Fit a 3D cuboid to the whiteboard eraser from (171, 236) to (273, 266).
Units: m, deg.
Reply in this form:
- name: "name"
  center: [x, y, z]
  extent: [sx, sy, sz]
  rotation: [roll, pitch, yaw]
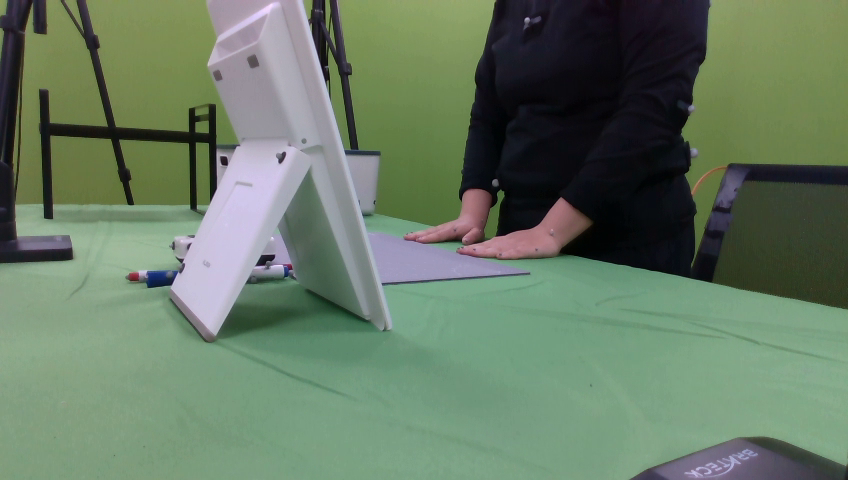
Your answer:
- name: "whiteboard eraser"
  center: [-0.248, 0.014, 0.747]
  extent: [0.113, 0.042, 0.055]
  rotation: [-1, 9, -32]

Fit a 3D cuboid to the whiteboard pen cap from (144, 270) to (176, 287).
- name: "whiteboard pen cap"
  center: [-0.271, 0.039, 0.627]
  extent: [0.033, 0.018, 0.018]
  rotation: [-3, 10, -33]

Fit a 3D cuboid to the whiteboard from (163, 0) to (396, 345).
- name: "whiteboard"
  center: [-0.173, -0.053, 0.511]
  extent: [0.144, 0.305, 0.216]
  rotation: [-23, 19, -26]

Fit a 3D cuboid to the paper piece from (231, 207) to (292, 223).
- name: "paper piece"
  center: [-0.395, -0.062, 1.461]
  extent: [0.139, 0.008, 0.135]
  rotation: [14, -4, -21]

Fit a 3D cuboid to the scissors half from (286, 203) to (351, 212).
- name: "scissors half"
  center: [-0.268, -0.079, 1.535]
  extent: [0.176, 0.013, 0.040]
  rotation: [-7, 12, -23]

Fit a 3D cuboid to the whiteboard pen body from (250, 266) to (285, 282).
- name: "whiteboard pen body"
  center: [-0.220, 0.039, 0.656]
  extent: [0.141, 0.017, 0.017]
  rotation: [-2, 9, -31]

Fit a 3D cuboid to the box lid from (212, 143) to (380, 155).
- name: "box lid"
  center: [-0.326, -0.227, 1.532]
  extent: [0.373, 0.015, 0.262]
  rotation: [-2, 8, -32]

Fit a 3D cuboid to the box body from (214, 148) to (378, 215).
- name: "box body"
  center: [-0.328, -0.154, 1.543]
  extent: [0.366, 0.160, 0.253]
  rotation: [-2, 9, -32]

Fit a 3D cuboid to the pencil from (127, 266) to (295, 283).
- name: "pencil"
  center: [-0.232, 0.037, 0.691]
  extent: [0.195, 0.012, 0.012]
  rotation: [-2, 9, -35]

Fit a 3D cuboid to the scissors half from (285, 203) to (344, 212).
- name: "scissors half"
  center: [-0.280, -0.082, 1.552]
  extent: [0.040, 0.013, 0.176]
  rotation: [1, 9, 45]
